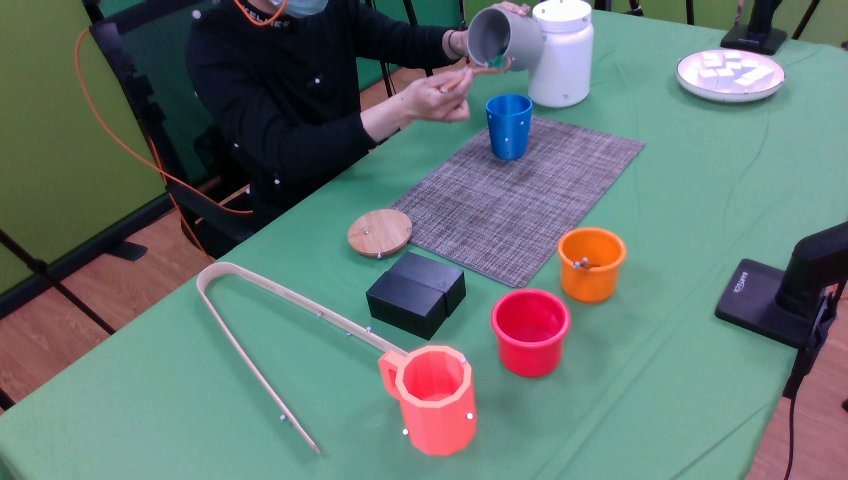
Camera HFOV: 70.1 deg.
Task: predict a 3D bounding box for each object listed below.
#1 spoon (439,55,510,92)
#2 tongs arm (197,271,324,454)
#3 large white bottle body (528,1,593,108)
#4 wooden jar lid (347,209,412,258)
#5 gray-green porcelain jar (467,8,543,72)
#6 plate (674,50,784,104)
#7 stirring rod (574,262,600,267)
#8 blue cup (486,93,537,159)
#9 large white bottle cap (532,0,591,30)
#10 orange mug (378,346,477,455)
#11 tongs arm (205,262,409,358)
[{"bbox_3d":[0.085,-0.284,1.029,0.041,0.022,0.194,23,38,34],"label":"spoon"},{"bbox_3d":[-0.236,0.155,0.831,0.028,0.028,0.384,-37,48,-17],"label":"tongs arm"},{"bbox_3d":[0.283,-0.386,1.259,0.130,0.185,0.130,-4,41,4],"label":"large white bottle body"},{"bbox_3d":[-0.071,-0.010,0.997,0.108,0.021,0.108,-5,44,5],"label":"wooden jar lid"},{"bbox_3d":[0.162,-0.384,1.171,0.105,0.106,0.127,29,24,35],"label":"gray-green porcelain jar"},{"bbox_3d":[0.631,-0.336,1.262,0.207,0.039,0.206,-4,41,4],"label":"plate"},{"bbox_3d":[0.222,0.033,0.816,0.014,0.006,0.177,8,1,22],"label":"stirring rod"},{"bbox_3d":[0.160,-0.209,1.129,0.092,0.100,0.092,-4,39,4],"label":"blue cup"},{"bbox_3d":[0.274,-0.450,1.204,0.115,0.018,0.114,-4,41,4],"label":"large white bottle cap"},{"bbox_3d":[0.002,0.179,0.708,0.125,0.101,0.083,25,50,27],"label":"orange mug"},{"bbox_3d":[-0.179,0.106,0.870,0.382,0.027,0.051,23,55,32],"label":"tongs arm"}]
